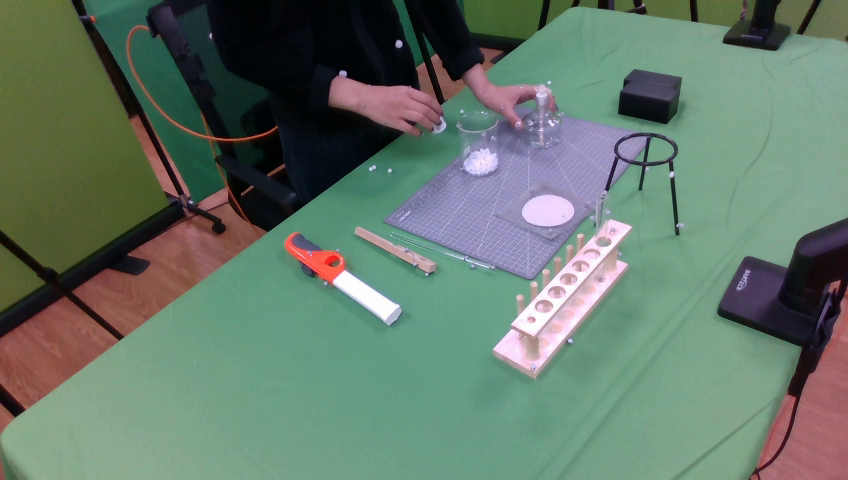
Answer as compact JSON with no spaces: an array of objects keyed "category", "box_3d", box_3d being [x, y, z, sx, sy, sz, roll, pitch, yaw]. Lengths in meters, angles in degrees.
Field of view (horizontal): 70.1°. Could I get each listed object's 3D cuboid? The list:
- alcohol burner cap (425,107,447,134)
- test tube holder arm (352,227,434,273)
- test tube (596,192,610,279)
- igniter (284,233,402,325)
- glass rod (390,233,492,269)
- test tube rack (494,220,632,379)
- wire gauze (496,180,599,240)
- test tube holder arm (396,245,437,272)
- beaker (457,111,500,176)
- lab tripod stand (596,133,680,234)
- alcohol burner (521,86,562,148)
[{"category":"alcohol burner cap","box_3d":[0.019,-0.222,1.111,0.034,0.048,0.033,-11,52,15]},{"category":"test tube holder arm","box_3d":[-0.053,0.014,0.978,0.177,0.015,0.013,25,16,34]},{"category":"test tube","box_3d":[0.240,-0.002,0.814,0.017,0.151,0.017,-7,42,7]},{"category":"igniter","box_3d":[-0.136,0.054,0.942,0.274,0.025,0.057,30,64,37]},{"category":"glass rod","box_3d":[0.024,0.017,0.971,0.198,0.008,0.008,18,48,32]},{"category":"test tube rack","box_3d":[0.191,0.068,0.818,0.066,0.085,0.243,25,51,35]},{"category":"wire gauze","box_3d":[0.206,-0.050,1.012,0.125,0.011,0.120,-34,45,-26]},{"category":"test tube holder arm","box_3d":[-0.016,0.029,0.957,0.087,0.015,0.010,25,16,34]},{"category":"beaker","box_3d":[0.104,-0.176,1.108,0.073,0.101,0.084,16,46,27]},{"category":"lab tripod stand","box_3d":[0.338,-0.091,0.940,0.148,0.132,0.147,-7,39,6]},{"category":"alcohol burner","box_3d":[0.223,-0.236,1.145,0.078,0.119,0.077,-4,38,4]}]
